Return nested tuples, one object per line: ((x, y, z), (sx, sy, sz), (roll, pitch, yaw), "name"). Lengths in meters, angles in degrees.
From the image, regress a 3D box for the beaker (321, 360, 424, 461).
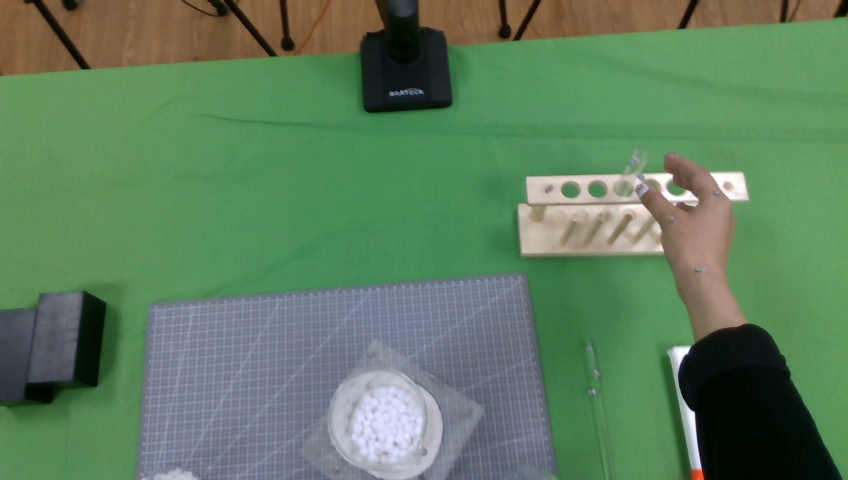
((-0.034, 0.145, 0.496), (0.074, 0.101, 0.083), (-42, 75, -13), "beaker")

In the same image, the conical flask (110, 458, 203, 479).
((-0.269, 0.250, 0.587), (0.075, 0.122, 0.075), (0, 69, 1), "conical flask")

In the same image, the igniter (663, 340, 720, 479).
((0.292, 0.243, 0.638), (0.057, 0.025, 0.274), (1, 69, -10), "igniter")

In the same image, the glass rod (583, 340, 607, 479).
((0.190, 0.208, 0.662), (0.008, 0.008, 0.198), (-3, 72, -1), "glass rod")

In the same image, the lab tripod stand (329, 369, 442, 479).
((-0.032, 0.186, 0.603), (0.148, 0.132, 0.147), (0, 71, 2), "lab tripod stand")

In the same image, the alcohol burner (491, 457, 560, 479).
((0.101, 0.251, 0.588), (0.078, 0.120, 0.077), (-1, 69, 3), "alcohol burner")

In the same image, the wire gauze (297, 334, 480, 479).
((-0.030, 0.165, 0.540), (0.124, 0.011, 0.121), (31, 76, 10), "wire gauze")

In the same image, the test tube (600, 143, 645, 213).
((0.216, -0.064, 0.668), (0.017, 0.151, 0.017), (-1, 69, 3), "test tube")

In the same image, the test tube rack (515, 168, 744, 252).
((0.234, -0.033, 0.709), (0.242, 0.086, 0.066), (-1, 69, 0), "test tube rack")
